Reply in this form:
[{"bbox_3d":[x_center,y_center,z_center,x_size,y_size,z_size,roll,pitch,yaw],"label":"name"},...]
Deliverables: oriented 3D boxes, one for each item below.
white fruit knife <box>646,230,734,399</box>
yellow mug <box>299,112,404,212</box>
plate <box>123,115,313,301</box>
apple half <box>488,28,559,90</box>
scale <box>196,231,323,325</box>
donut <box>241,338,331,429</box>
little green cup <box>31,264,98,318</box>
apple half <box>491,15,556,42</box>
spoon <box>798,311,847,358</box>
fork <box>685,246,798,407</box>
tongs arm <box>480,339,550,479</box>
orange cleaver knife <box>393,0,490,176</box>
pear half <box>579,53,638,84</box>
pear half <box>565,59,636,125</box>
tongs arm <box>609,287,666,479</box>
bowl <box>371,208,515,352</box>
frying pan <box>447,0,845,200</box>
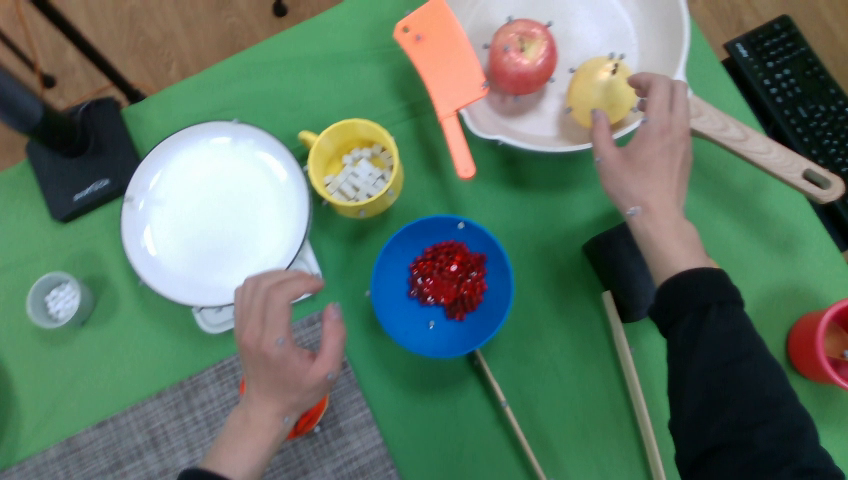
[{"bbox_3d":[0.283,0.082,0.647,0.016,0.027,0.207,-28,95,-2],"label":"white fruit knife"},{"bbox_3d":[-0.089,-0.095,0.696,0.130,0.064,0.100,31,84,8],"label":"yellow mug"},{"bbox_3d":[-0.224,-0.035,0.675,0.209,0.038,0.208,0,80,2],"label":"plate"},{"bbox_3d":[0.110,-0.202,0.697,0.081,0.075,0.053,15,85,2],"label":"apple half"},{"bbox_3d":[-0.216,-0.016,0.705,0.149,0.031,0.200,-22,81,-1],"label":"scale"},{"bbox_3d":[-0.151,0.156,0.664,0.099,0.048,0.098,0,82,3],"label":"donut"},{"bbox_3d":[-0.410,0.061,0.696,0.061,0.039,0.061,0,80,2],"label":"little green cup"},{"bbox_3d":[0.118,-0.238,0.702,0.081,0.081,0.032,14,84,5],"label":"apple half"},{"bbox_3d":[0.458,0.133,0.600,0.041,0.022,0.191,-31,36,-4],"label":"spoon"},{"bbox_3d":[0.344,0.095,0.650,0.028,0.018,0.208,-35,97,-6],"label":"fork"},{"bbox_3d":[0.158,0.268,0.641,0.051,0.026,0.383,-24,83,1],"label":"tongs arm"},{"bbox_3d":[0.031,-0.175,0.667,0.077,0.012,0.210,-22,81,1],"label":"orange cleaver knife"},{"bbox_3d":[0.206,-0.194,0.685,0.070,0.088,0.031,4,80,9],"label":"pear half"},{"bbox_3d":[0.196,-0.163,0.670,0.076,0.110,0.056,10,81,7],"label":"pear half"},{"bbox_3d":[0.236,0.240,0.636,0.028,0.028,0.386,-10,84,0],"label":"tongs arm"},{"bbox_3d":[0.021,0.047,0.663,0.151,0.077,0.151,0,81,2],"label":"bowl"},{"bbox_3d":[0.231,-0.181,0.679,0.485,0.103,0.306,36,85,15],"label":"frying pan"}]
